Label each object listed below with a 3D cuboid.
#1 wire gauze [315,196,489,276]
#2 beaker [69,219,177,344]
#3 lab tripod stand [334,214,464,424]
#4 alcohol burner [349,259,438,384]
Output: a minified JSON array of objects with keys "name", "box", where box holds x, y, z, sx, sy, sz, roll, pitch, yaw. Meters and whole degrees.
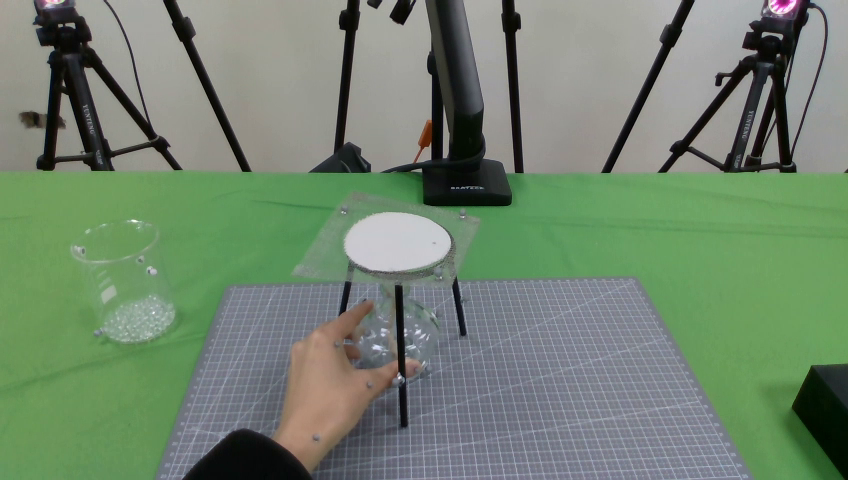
[{"name":"wire gauze","box":[-0.018,-0.009,0.468,0.125,0.011,0.120,5,27,-9]},{"name":"beaker","box":[-0.278,0.039,0.574,0.074,0.101,0.083,6,33,6]},{"name":"lab tripod stand","box":[-0.019,0.058,0.518,0.148,0.132,0.147,2,34,-1]},{"name":"alcohol burner","box":[-0.026,0.066,0.524,0.078,0.120,0.077,3,32,-1]}]
